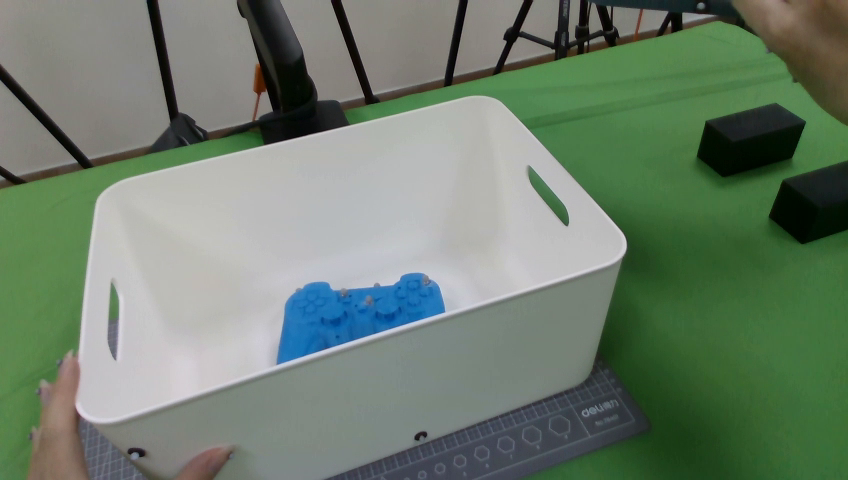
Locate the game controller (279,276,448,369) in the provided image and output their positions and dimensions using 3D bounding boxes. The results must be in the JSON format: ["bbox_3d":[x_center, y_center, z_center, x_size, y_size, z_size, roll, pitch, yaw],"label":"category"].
[{"bbox_3d":[-0.052,0.075,0.551,0.155,0.052,0.096,-5,37,1],"label":"game controller"}]

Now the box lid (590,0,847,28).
[{"bbox_3d":[0.332,-0.203,0.467,0.369,0.015,0.262,15,39,22],"label":"box lid"}]

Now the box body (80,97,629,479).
[{"bbox_3d":[-0.056,0.040,0.510,0.365,0.162,0.251,-16,42,-11],"label":"box body"}]
